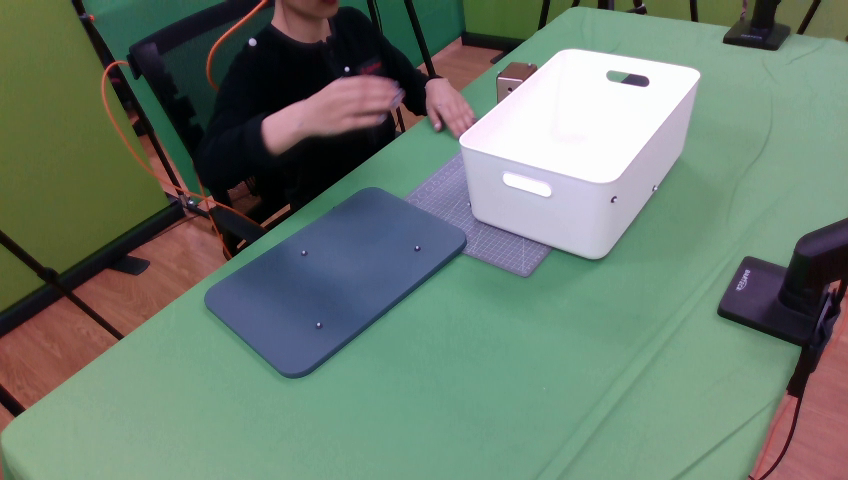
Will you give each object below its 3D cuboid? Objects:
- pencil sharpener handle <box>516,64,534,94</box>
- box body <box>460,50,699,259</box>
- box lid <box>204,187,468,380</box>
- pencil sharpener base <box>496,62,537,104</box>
[{"bbox_3d":[0.214,-0.337,1.249,0.036,0.068,0.031,12,44,28],"label":"pencil sharpener handle"},{"bbox_3d":[0.261,-0.153,1.001,0.252,0.161,0.365,21,48,31],"label":"box body"},{"bbox_3d":[-0.135,0.044,0.963,0.261,0.015,0.373,29,53,36],"label":"box lid"},{"bbox_3d":[0.190,-0.297,1.225,0.061,0.107,0.077,14,45,27],"label":"pencil sharpener base"}]
